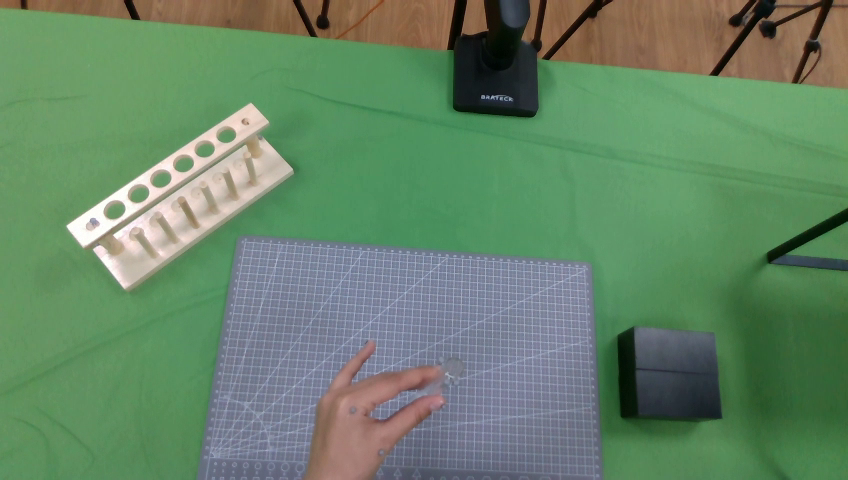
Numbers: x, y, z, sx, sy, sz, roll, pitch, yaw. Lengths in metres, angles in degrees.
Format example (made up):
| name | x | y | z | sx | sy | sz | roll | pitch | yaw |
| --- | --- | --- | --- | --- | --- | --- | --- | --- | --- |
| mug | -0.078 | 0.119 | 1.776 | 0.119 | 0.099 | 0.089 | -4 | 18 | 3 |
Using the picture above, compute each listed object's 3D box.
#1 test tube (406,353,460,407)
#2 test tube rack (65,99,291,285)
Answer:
| name | x | y | z | sx | sy | sz | roll | pitch | yaw |
| --- | --- | --- | --- | --- | --- | --- | --- | --- | --- |
| test tube | 0.005 | 0.125 | 0.528 | 0.017 | 0.151 | 0.017 | 6 | 63 | -11 |
| test tube rack | -0.278 | -0.057 | 0.715 | 0.242 | 0.085 | 0.066 | -40 | 78 | -18 |
